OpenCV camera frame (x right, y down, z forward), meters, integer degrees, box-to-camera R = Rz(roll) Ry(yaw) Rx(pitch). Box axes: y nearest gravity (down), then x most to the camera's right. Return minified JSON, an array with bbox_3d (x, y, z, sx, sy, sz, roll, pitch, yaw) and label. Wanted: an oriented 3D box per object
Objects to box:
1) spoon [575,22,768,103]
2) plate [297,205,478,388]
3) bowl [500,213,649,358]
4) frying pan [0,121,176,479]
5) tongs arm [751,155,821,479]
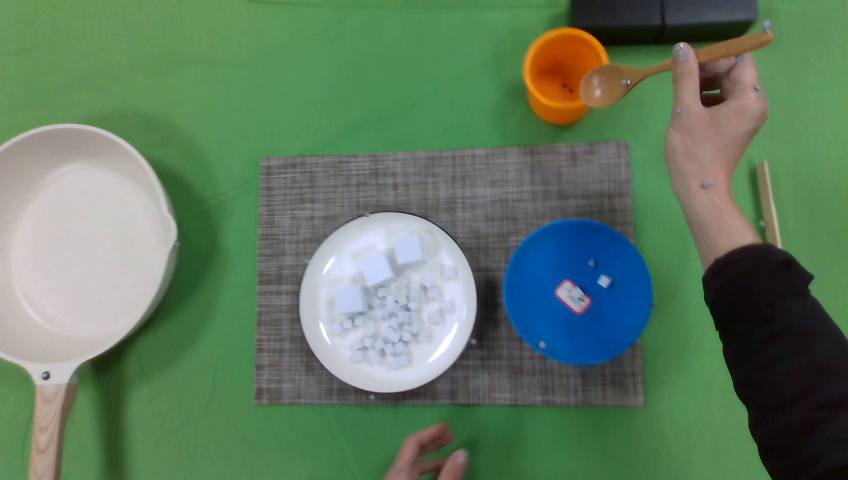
[{"bbox_3d":[0.207,-0.157,0.536,0.022,0.192,0.041,-5,93,-27],"label":"spoon"},{"bbox_3d":[-0.041,0.064,0.700,0.207,0.039,0.207,-1,82,7],"label":"plate"},{"bbox_3d":[0.158,0.051,0.656,0.151,0.077,0.151,-1,82,7],"label":"bowl"},{"bbox_3d":[-0.432,0.103,0.712,0.306,0.103,0.485,-4,74,7],"label":"frying pan"},{"bbox_3d":[0.398,0.095,0.652,0.028,0.028,0.386,-8,82,4],"label":"tongs arm"}]
